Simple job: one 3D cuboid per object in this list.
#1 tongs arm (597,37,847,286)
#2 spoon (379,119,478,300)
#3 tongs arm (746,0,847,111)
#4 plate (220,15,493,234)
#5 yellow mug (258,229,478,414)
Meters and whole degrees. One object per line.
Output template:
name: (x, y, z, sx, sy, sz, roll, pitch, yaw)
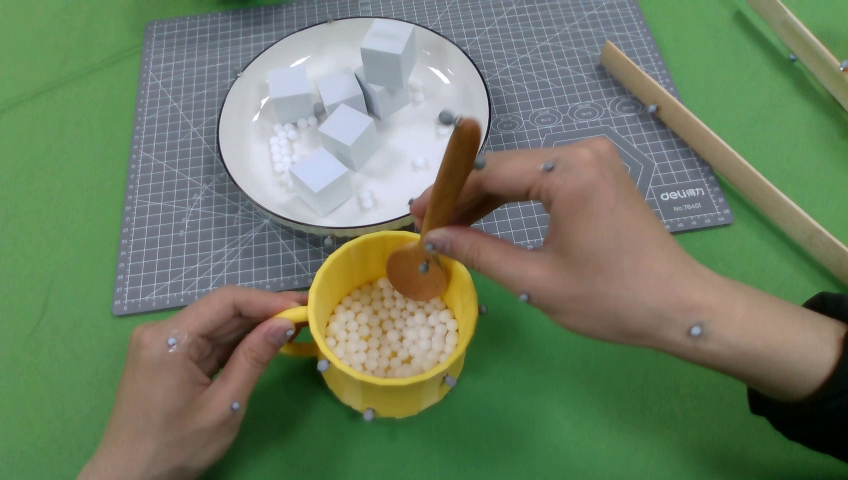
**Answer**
tongs arm: (0.261, -0.026, 0.429, 0.028, 0.028, 0.384, -32, 66, -18)
spoon: (0.002, -0.004, 0.315, 0.041, 0.194, 0.021, 27, 69, 2)
tongs arm: (0.333, -0.061, 0.442, 0.051, 0.027, 0.381, -21, 64, -9)
plate: (-0.051, -0.091, 0.475, 0.207, 0.039, 0.206, -1, 62, 3)
yellow mug: (-0.035, 0.053, 0.374, 0.131, 0.064, 0.099, -6, 60, -8)
